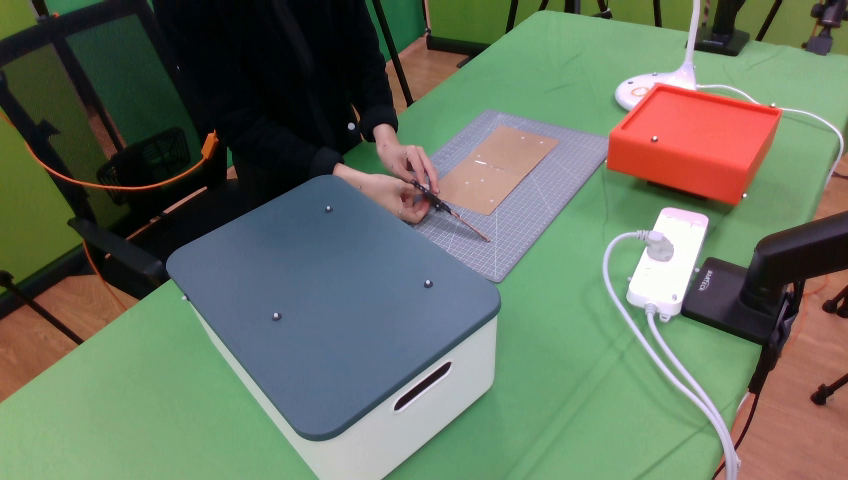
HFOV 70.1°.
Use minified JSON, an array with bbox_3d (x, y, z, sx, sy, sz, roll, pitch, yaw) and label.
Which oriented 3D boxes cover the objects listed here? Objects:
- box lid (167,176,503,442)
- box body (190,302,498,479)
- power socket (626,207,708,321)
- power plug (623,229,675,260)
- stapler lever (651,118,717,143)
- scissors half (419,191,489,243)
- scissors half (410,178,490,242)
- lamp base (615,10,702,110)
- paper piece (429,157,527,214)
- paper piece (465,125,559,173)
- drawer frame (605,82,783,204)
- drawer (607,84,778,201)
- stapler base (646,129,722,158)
[{"bbox_3d":[-0.119,0.047,0.714,0.264,0.015,0.368,-32,47,-27],"label":"box lid"},{"bbox_3d":[-0.110,0.103,0.761,0.255,0.161,0.361,-33,46,-27],"label":"box body"},{"bbox_3d":[0.360,0.026,0.886,0.072,0.033,0.227,16,46,26],"label":"power socket"},{"bbox_3d":[0.327,0.007,0.878,0.072,0.053,0.035,25,51,33],"label":"power plug"},{"bbox_3d":[0.436,-0.192,1.014,0.118,0.040,0.026,-15,25,-16],"label":"stapler lever"},{"bbox_3d":[0.048,-0.043,1.014,0.013,0.040,0.174,-49,57,-1],"label":"scissors half"},{"bbox_3d":[0.041,-0.049,0.996,0.174,0.040,0.013,40,93,16],"label":"scissors half"},{"bbox_3d":[0.484,-0.364,1.211,0.180,0.181,0.159,-15,41,-14],"label":"lamp base"},{"bbox_3d":[0.094,-0.102,1.089,0.134,0.004,0.136,22,48,30],"label":"paper piece"},{"bbox_3d":[0.171,-0.177,1.167,0.137,0.009,0.136,21,44,30],"label":"paper piece"},{"bbox_3d":[0.441,-0.167,0.995,0.212,0.083,0.202,23,48,30],"label":"drawer frame"},{"bbox_3d":[0.438,-0.166,0.996,0.210,0.073,0.195,23,48,30],"label":"drawer"},{"bbox_3d":[0.439,-0.167,1.024,0.131,0.024,0.041,-16,25,-15],"label":"stapler base"}]
